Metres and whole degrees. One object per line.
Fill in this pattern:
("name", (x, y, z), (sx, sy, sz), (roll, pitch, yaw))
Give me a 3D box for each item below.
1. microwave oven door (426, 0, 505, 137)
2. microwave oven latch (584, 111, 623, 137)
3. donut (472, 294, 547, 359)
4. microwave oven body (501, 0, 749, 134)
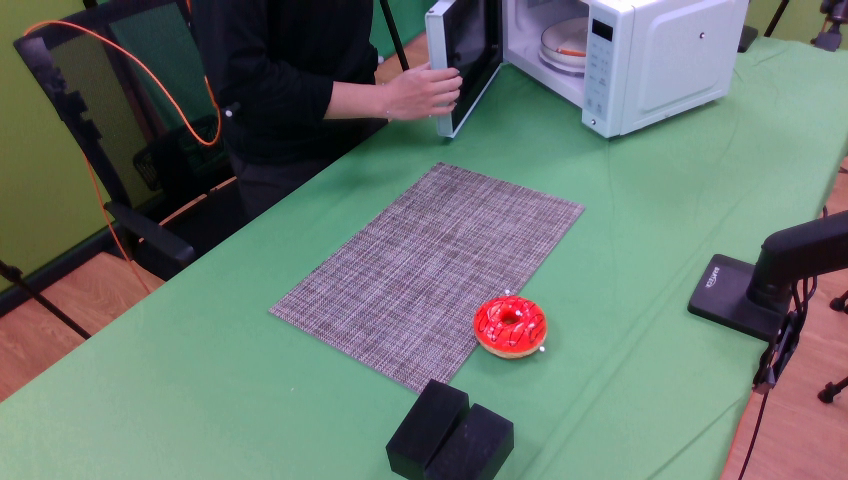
("microwave oven door", (0.095, -0.407, 1.235), (0.039, 0.245, 0.356), (10, 44, 20))
("microwave oven latch", (0.337, -0.222, 1.142), (0.030, 0.029, 0.078), (-21, 42, -14))
("donut", (0.114, 0.114, 0.803), (0.099, 0.048, 0.098), (0, 40, 1))
("microwave oven body", (0.382, -0.444, 1.246), (0.327, 0.261, 0.437), (-22, 42, -16))
